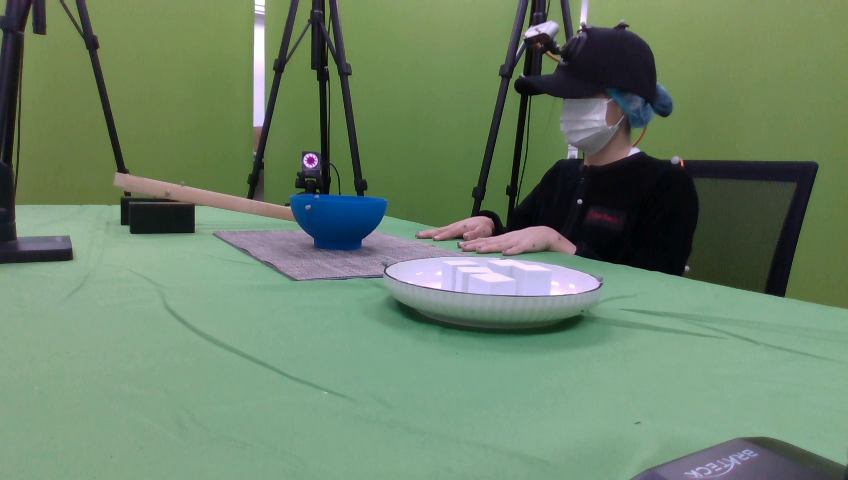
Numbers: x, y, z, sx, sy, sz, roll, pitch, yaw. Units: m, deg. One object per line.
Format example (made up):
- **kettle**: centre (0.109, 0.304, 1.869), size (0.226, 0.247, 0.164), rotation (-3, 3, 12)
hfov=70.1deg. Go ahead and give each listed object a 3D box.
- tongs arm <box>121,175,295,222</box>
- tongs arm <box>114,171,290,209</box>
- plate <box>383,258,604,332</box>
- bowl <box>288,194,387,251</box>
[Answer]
- **tongs arm**: centre (-0.347, -0.065, 1.108), size (0.390, 0.027, 0.028), rotation (11, -3, -42)
- **tongs arm**: centre (-0.393, -0.078, 1.183), size (0.387, 0.026, 0.050), rotation (12, 0, -27)
- **plate**: centre (0.064, 0.051, 0.582), size (0.209, 0.038, 0.209), rotation (3, 7, 0)
- **bowl**: centre (-0.135, -0.027, 0.936), size (0.151, 0.077, 0.151), rotation (3, 7, 0)
